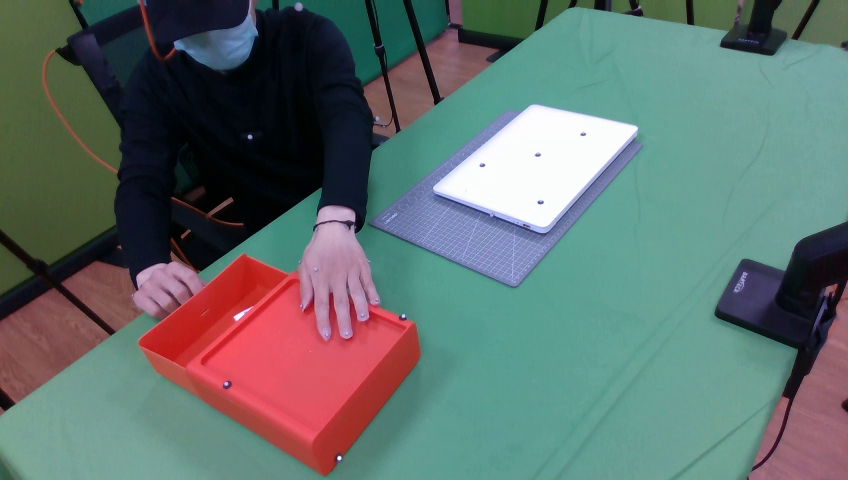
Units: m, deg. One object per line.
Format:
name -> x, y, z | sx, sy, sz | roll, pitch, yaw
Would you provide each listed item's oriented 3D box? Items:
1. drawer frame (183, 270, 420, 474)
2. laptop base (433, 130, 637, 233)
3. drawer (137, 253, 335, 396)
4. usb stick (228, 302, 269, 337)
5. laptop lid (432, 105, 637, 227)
drawer frame -> -0.149, 0.153, 0.767 | 0.212, 0.083, 0.202 | 20, 46, 27
laptop base -> 0.210, -0.142, 1.111 | 0.233, 0.023, 0.355 | 21, 47, 34
drawer -> -0.231, 0.127, 0.812 | 0.210, 0.073, 0.195 | 19, 46, 27
usb stick -> -0.253, 0.115, 0.860 | 0.059, 0.027, 0.021 | -32, 44, -23
laptop lid -> 0.207, -0.152, 1.105 | 0.239, 0.013, 0.358 | 23, 49, 34
